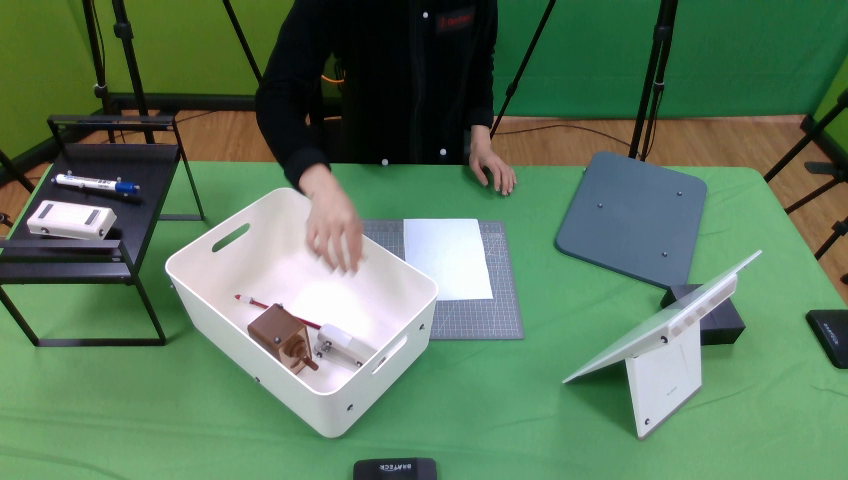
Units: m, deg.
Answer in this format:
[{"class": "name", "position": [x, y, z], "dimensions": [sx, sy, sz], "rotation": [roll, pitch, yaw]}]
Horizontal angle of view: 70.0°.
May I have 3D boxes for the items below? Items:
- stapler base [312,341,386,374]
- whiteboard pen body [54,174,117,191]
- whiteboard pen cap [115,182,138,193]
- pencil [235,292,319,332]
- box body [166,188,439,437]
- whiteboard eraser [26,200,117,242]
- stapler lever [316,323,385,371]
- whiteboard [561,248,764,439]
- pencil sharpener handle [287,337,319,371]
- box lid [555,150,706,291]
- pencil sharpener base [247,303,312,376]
[{"class": "stapler base", "position": [-0.123, 0.189, 0.997], "dimensions": [0.130, 0.024, 0.041], "rotation": [21, 51, 15]}, {"class": "whiteboard pen body", "position": [-0.541, -0.093, 0.993], "dimensions": [0.140, 0.017, 0.017], "rotation": [7, 46, 9]}, {"class": "whiteboard pen cap", "position": [-0.483, -0.086, 0.984], "dimensions": [0.033, 0.018, 0.018], "rotation": [7, 46, 10]}, {"class": "pencil", "position": [-0.244, 0.130, 1.054], "dimensions": [0.194, 0.012, 0.012], "rotation": [22, 49, 11]}, {"class": "box body", "position": [-0.190, 0.108, 0.980], "dimensions": [0.362, 0.161, 0.254], "rotation": [32, 52, 24]}, {"class": "whiteboard eraser", "position": [-0.532, -0.026, 0.919], "dimensions": [0.113, 0.042, 0.055], "rotation": [7, 45, 3]}, {"class": "stapler lever", "position": [-0.120, 0.171, 0.977], "dimensions": [0.118, 0.040, 0.027], "rotation": [22, 52, 14]}, {"class": "whiteboard", "position": [0.386, 0.176, 0.905], "dimensions": [0.217, 0.306, 0.143], "rotation": [-26, 72, -27]}, {"class": "pencil sharpener handle", "position": [-0.181, 0.178, 0.929], "dimensions": [0.030, 0.068, 0.036], "rotation": [31, 67, 23]}, {"class": "box lid", "position": [0.451, -0.059, 1.297], "dimensions": [0.263, 0.015, 0.370], "rotation": [20, 49, 14]}, {"class": "pencil sharpener base", "position": [-0.224, 0.165, 0.956], "dimensions": [0.076, 0.107, 0.061], "rotation": [31, 53, 23]}]
